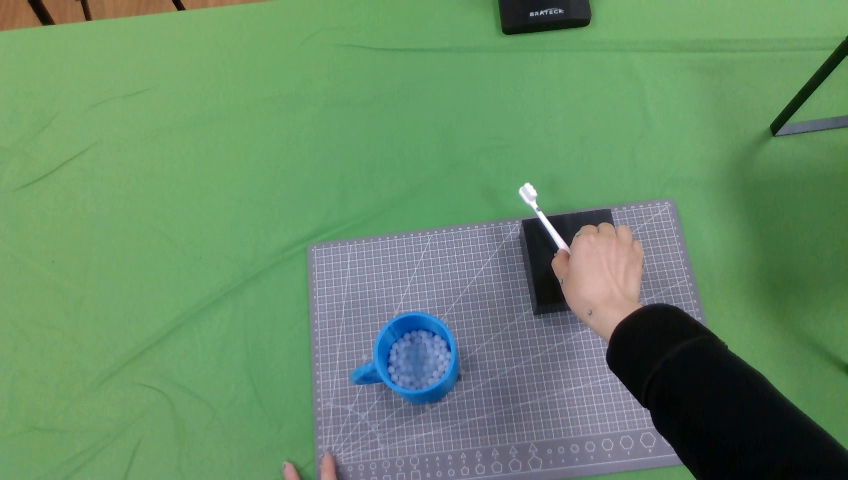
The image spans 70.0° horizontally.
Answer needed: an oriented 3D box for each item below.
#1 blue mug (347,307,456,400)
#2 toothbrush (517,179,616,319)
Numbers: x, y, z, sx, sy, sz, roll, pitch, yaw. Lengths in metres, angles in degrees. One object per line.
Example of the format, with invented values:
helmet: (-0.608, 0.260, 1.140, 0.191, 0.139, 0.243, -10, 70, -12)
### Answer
blue mug: (-0.023, 0.127, 0.640, 0.116, 0.106, 0.082, -15, 70, -1)
toothbrush: (0.154, 0.007, 0.657, 0.014, 0.017, 0.180, -20, 69, -32)
